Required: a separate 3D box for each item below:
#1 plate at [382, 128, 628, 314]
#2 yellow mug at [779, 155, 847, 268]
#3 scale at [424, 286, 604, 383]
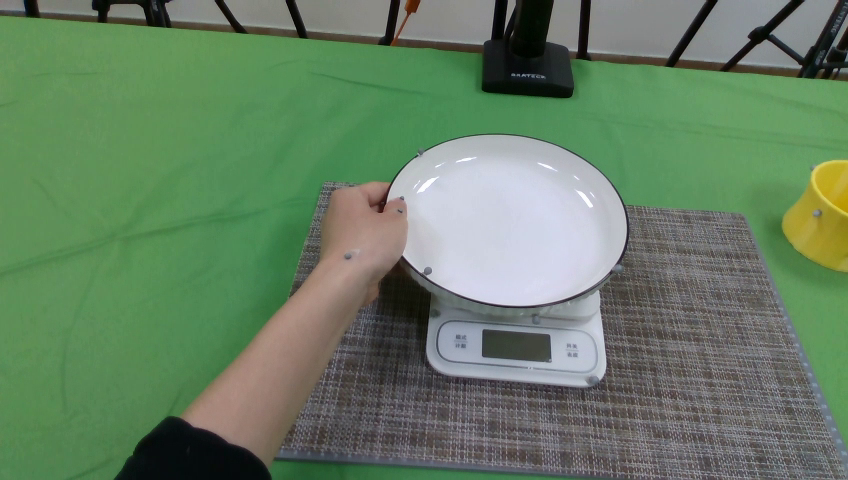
[{"bbox_3d":[0.067,-0.019,0.527,0.209,0.038,0.207,0,49,0],"label":"plate"},{"bbox_3d":[0.434,-0.021,0.601,0.100,0.064,0.129,-31,56,-27],"label":"yellow mug"},{"bbox_3d":[0.080,0.032,0.548,0.149,0.032,0.199,5,47,1],"label":"scale"}]
